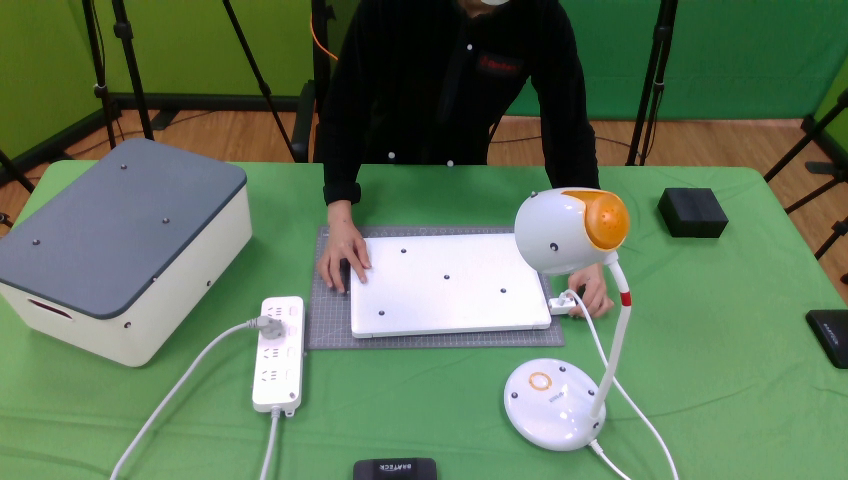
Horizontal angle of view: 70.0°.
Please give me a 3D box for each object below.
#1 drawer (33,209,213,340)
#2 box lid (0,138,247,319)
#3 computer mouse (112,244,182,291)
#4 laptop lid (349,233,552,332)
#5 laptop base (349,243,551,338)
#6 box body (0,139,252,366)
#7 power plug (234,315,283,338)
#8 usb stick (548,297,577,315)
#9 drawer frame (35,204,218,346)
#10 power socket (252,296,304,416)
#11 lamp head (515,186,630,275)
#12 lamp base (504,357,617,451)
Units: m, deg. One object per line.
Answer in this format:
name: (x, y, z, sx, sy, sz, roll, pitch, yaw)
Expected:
drawer: (-0.509, 0.054, 1.046, 0.194, 0.073, 0.211, 15, 43, 10)
box lid: (-0.494, -0.037, 0.994, 0.263, 0.015, 0.370, 17, 46, 12)
computer mouse: (-0.493, 0.046, 1.078, 0.117, 0.041, 0.062, 24, 41, 13)
laptop lid: (0.040, 0.071, 1.119, 0.357, 0.013, 0.240, -1, 44, -5)
laptop base: (0.040, 0.081, 1.126, 0.355, 0.023, 0.234, -2, 43, -6)
box body: (-0.496, 0.013, 1.048, 0.254, 0.161, 0.362, 17, 47, 12)
power plug: (-0.269, 0.144, 1.000, 0.072, 0.053, 0.035, 4, 46, 2)
usb stick: (0.241, 0.118, 1.087, 0.059, 0.027, 0.021, -6, 51, -4)
drawer frame: (-0.505, 0.054, 1.052, 0.201, 0.083, 0.212, 14, 52, 12)
power socket: (-0.238, 0.182, 0.997, 0.072, 0.033, 0.225, -3, 47, -5)
lamp head: (0.188, -0.013, 0.728, 0.112, 0.112, 0.122, -25, 9, -25)
lamp base: (0.220, 0.211, 0.903, 0.160, 0.181, 0.178, -33, 59, -30)
